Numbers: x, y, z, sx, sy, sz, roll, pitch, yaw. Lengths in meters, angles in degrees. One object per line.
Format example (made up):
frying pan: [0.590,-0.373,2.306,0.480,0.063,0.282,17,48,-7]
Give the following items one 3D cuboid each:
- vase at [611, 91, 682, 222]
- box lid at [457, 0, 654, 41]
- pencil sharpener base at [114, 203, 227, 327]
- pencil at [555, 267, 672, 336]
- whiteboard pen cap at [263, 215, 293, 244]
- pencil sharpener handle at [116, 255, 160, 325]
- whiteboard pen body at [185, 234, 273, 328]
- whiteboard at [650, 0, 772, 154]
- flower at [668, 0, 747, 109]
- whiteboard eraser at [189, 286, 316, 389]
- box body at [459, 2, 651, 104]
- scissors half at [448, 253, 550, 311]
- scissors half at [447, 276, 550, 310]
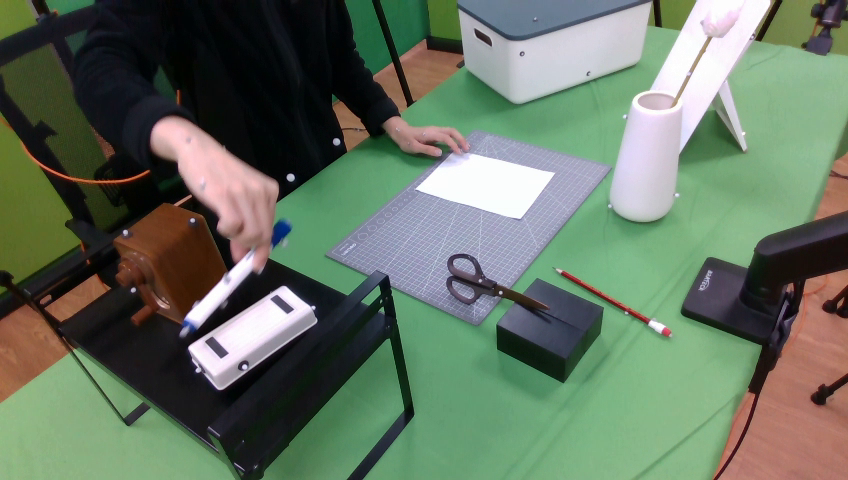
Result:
vase: [0.348,-0.125,0.935,0.098,0.201,0.097,-3,40,3]
box lid: [0.285,-0.522,1.323,0.373,0.015,0.261,-22,43,-16]
pencil sharpener base: [-0.262,0.029,0.635,0.061,0.107,0.077,18,47,26]
pencil: [0.260,0.082,0.850,0.012,0.012,0.192,-33,46,-27]
whiteboard pen cap: [-0.153,-0.010,0.630,0.018,0.018,0.033,19,56,28]
pencil sharpener handle: [-0.287,0.050,0.594,0.035,0.068,0.031,7,41,36]
whiteboard pen body: [-0.182,0.030,0.598,0.017,0.017,0.141,19,55,27]
whiteboard: [0.543,-0.298,1.076,0.144,0.305,0.216,12,40,-7]
flower: [0.354,-0.187,0.879,0.038,0.362,0.044,31,48,15]
whiteboard eraser: [-0.166,0.096,0.593,0.113,0.042,0.055,-36,47,-29]
box body: [0.291,-0.465,1.371,0.365,0.161,0.252,-22,42,-16]
scissors half: [0.098,0.058,0.821,0.173,0.040,0.013,27,33,37]
scissors half: [0.098,0.077,0.826,0.174,0.040,0.013,6,14,44]
